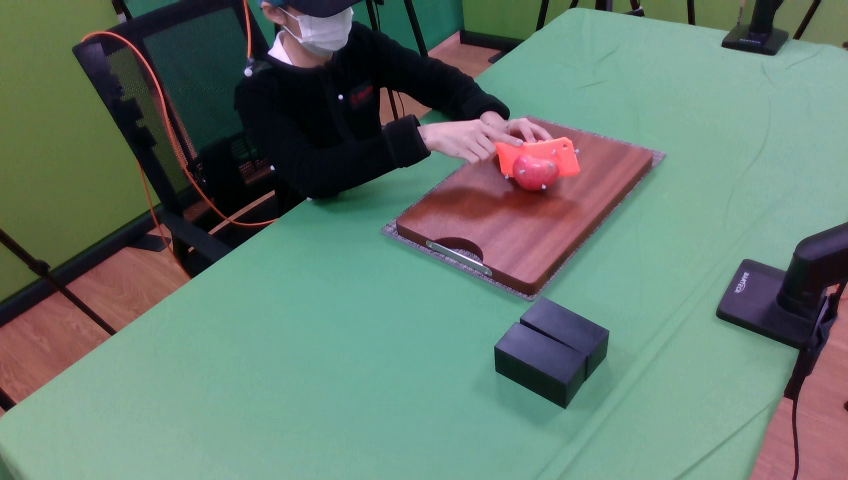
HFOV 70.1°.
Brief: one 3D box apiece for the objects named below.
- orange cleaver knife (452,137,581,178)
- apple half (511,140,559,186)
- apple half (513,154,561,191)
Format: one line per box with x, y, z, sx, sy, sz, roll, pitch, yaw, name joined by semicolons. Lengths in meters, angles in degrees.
0.150;-0.136;0.996;0.210;0.077;0.012;5;39;18;orange cleaver knife
0.190;-0.134;1.021;0.080;0.075;0.053;3;37;20;apple half
0.182;-0.102;0.988;0.081;0.082;0.032;5;53;15;apple half
